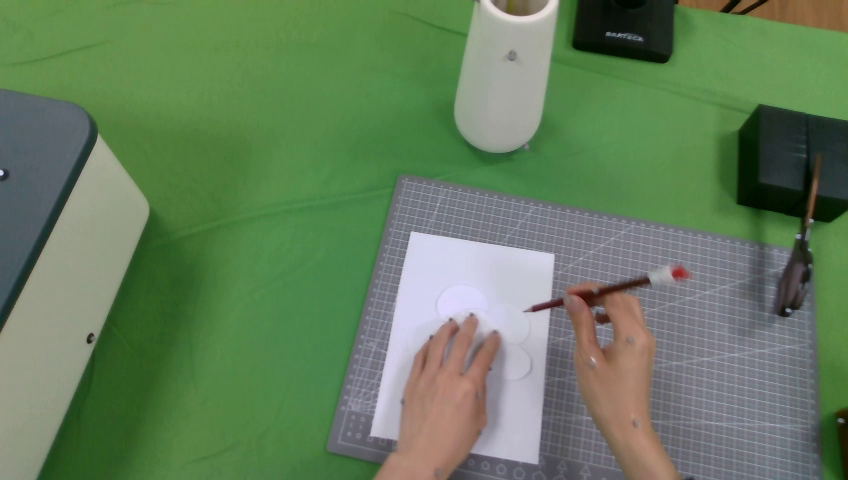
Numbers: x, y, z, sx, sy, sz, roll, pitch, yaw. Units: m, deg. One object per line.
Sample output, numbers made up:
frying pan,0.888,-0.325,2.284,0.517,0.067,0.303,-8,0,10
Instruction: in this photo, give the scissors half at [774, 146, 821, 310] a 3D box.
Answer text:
scissors half,0.379,-0.013,0.611,0.012,0.040,0.175,16,86,20

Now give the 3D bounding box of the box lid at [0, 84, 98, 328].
box lid,-0.435,0.023,0.456,0.263,0.015,0.369,12,67,3

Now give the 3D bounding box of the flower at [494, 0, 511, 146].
flower,0.077,-0.226,0.538,0.044,0.365,0.038,4,49,5

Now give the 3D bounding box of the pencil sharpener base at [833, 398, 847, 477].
pencil sharpener base,0.414,0.172,0.518,0.061,0.108,0.076,7,68,2

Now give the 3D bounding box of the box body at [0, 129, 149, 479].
box body,-0.436,0.054,0.525,0.254,0.161,0.361,11,68,4

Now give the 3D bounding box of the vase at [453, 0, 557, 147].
vase,0.080,-0.180,0.610,0.098,0.201,0.097,0,66,1

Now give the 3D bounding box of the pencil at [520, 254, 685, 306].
pencil,0.133,0.037,0.493,0.012,0.194,0.012,7,72,-24

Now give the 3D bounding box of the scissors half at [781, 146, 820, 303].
scissors half,0.374,-0.019,0.592,0.013,0.040,0.174,17,69,15
